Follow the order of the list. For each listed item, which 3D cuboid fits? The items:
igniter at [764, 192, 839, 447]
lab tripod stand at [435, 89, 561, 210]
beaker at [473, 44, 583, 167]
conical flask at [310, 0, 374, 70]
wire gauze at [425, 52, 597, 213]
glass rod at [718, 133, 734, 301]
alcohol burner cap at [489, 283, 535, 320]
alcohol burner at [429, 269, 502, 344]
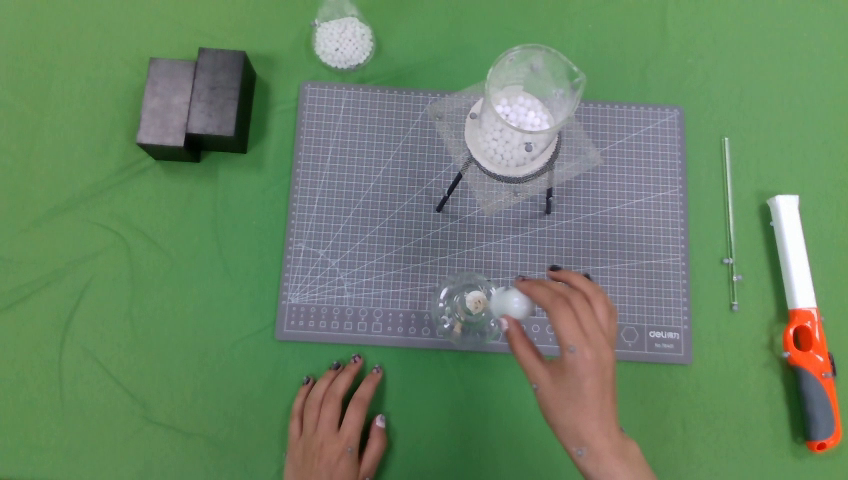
[{"bbox_3d":[0.411,0.082,0.662,0.057,0.025,0.275,-1,79,-13],"label":"igniter"},{"bbox_3d":[0.079,-0.083,0.626,0.148,0.132,0.148,0,80,-2],"label":"lab tripod stand"},{"bbox_3d":[0.083,-0.109,0.515,0.084,0.100,0.073,-17,81,-6],"label":"beaker"},{"bbox_3d":[-0.095,-0.246,0.661,0.075,0.122,0.075,0,78,-2],"label":"conical flask"},{"bbox_3d":[0.081,-0.100,0.563,0.125,0.011,0.121,-25,84,-8],"label":"wire gauze"},{"bbox_3d":[0.346,-0.029,0.692,0.008,0.008,0.199,3,78,-2],"label":"glass rod"},{"bbox_3d":[0.079,0.053,0.525,0.034,0.048,0.034,1,83,-12],"label":"alcohol burner cap"},{"bbox_3d":[0.045,0.064,0.605,0.078,0.119,0.077,1,77,-4],"label":"alcohol burner"}]
